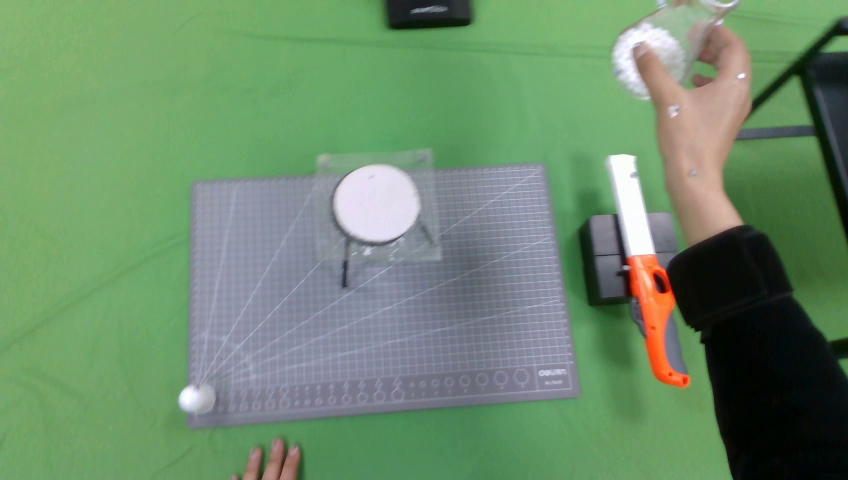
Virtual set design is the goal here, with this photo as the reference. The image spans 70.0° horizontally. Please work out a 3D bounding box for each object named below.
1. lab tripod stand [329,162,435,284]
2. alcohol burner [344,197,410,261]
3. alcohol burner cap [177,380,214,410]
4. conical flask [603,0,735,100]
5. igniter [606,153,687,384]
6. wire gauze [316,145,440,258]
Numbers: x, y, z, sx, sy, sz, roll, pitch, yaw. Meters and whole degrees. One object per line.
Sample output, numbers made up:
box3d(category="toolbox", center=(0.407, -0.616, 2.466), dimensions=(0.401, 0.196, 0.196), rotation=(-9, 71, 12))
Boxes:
box3d(category="lab tripod stand", center=(-0.058, -0.025, 0.685), dimensions=(0.148, 0.132, 0.147), rotation=(0, 74, -1))
box3d(category="alcohol burner", center=(-0.055, -0.018, 0.693), dimensions=(0.078, 0.119, 0.077), rotation=(1, 75, -2))
box3d(category="alcohol burner cap", center=(-0.254, 0.169, 0.665), dimensions=(0.034, 0.048, 0.033), rotation=(1, 72, -4))
box3d(category="conical flask", center=(0.203, -0.171, 0.494), dimensions=(0.075, 0.122, 0.075), rotation=(1, 79, -6))
box3d(category="igniter", center=(0.253, 0.028, 0.699), dimensions=(0.057, 0.025, 0.274), rotation=(-4, 72, -8))
box3d(category="wire gauze", center=(-0.048, -0.040, 0.619), dimensions=(0.125, 0.011, 0.121), rotation=(-1, 74, -3))
